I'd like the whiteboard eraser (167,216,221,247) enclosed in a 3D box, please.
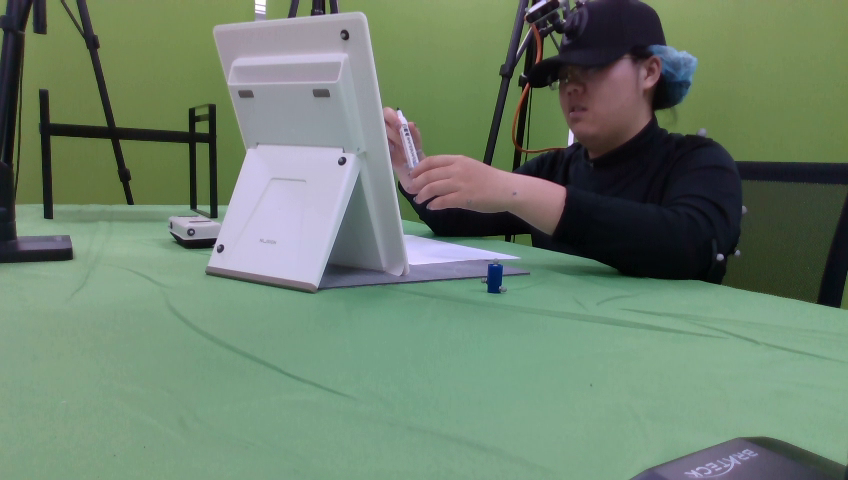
[{"bbox_3d":[-0.350,-0.013,0.920,0.056,0.042,0.112,0,7,-35],"label":"whiteboard eraser"}]

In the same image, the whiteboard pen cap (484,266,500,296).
[{"bbox_3d":[0.075,0.046,0.668,0.018,0.033,0.018,2,5,0],"label":"whiteboard pen cap"}]

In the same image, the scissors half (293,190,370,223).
[{"bbox_3d":[-0.205,-0.077,1.338,0.175,0.040,0.013,22,11,-8],"label":"scissors half"}]

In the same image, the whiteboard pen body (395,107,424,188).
[{"bbox_3d":[-0.024,-0.139,0.892,0.017,0.140,0.017,-14,-22,-6],"label":"whiteboard pen body"}]

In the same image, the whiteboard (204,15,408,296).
[{"bbox_3d":[-0.166,-0.072,0.669,0.216,0.305,0.144,8,30,30],"label":"whiteboard"}]

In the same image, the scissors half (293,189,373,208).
[{"bbox_3d":[-0.201,-0.096,1.333,0.175,0.040,0.013,5,18,-4],"label":"scissors half"}]
